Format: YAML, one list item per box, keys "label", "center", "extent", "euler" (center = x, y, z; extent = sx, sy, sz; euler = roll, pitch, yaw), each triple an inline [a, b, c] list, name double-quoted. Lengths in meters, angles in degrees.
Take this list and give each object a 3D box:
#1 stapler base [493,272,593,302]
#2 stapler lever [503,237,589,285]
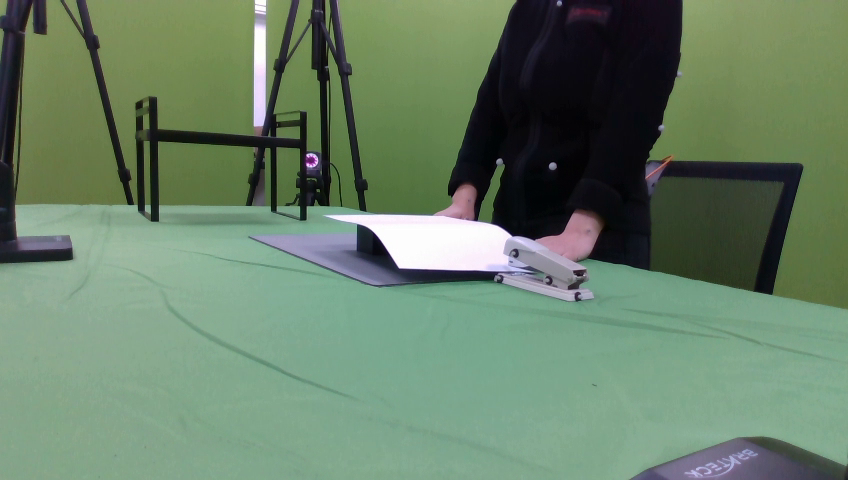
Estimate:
- label: "stapler base"
  center: [0.134, 0.046, 0.696]
  extent: [0.041, 0.024, 0.130]
  euler: [-2, 9, -35]
- label: "stapler lever"
  center: [0.137, 0.023, 0.693]
  extent: [0.027, 0.040, 0.117]
  euler: [-2, 9, -35]
